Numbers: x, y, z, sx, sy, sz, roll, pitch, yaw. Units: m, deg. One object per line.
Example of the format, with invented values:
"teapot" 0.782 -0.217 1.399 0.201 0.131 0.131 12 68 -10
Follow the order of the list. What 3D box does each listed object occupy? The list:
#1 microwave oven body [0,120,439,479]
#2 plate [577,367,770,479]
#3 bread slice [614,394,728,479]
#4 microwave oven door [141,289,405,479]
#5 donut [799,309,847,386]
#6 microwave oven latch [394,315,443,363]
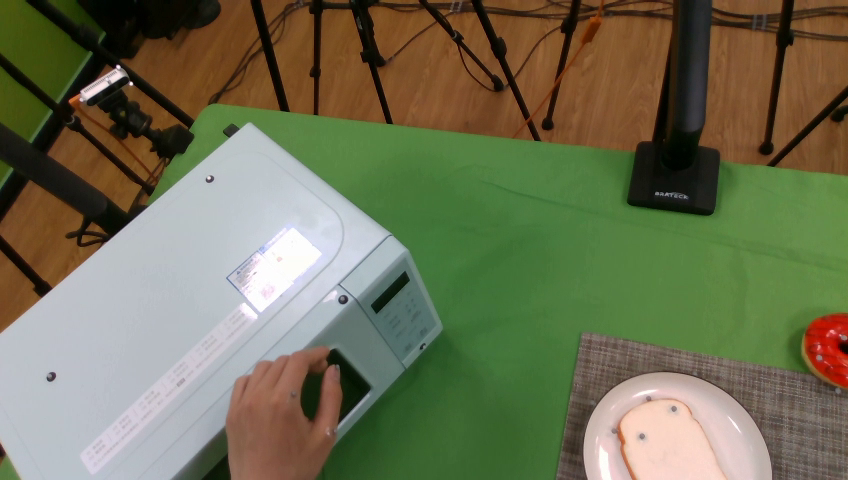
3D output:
"microwave oven body" -0.253 0.126 0.772 0.323 0.263 0.441 38 75 27
"plate" 0.286 0.255 0.710 0.207 0.039 0.206 -5 60 9
"bread slice" 0.285 0.249 0.715 0.105 0.019 0.130 -18 59 2
"microwave oven door" -0.181 0.231 0.691 0.039 0.246 0.355 37 75 28
"donut" 0.508 0.129 0.731 0.099 0.049 0.098 -7 56 11
"microwave oven latch" -0.009 0.130 0.829 0.079 0.030 0.030 -44 62 -12
